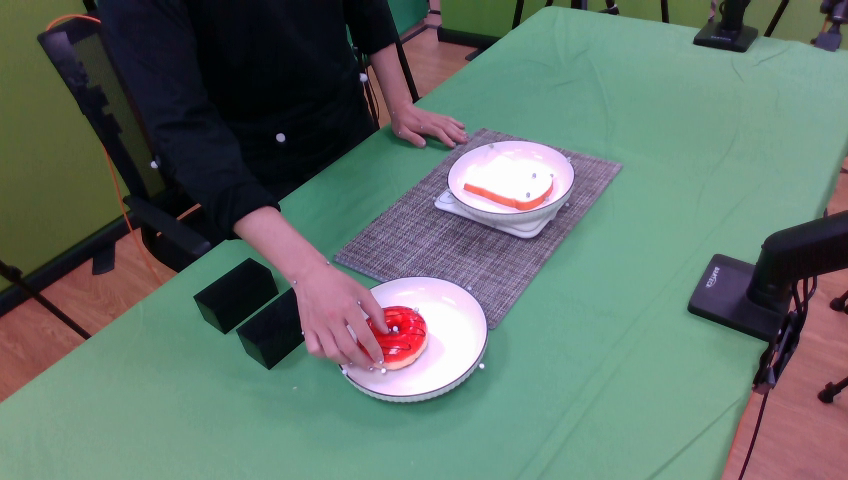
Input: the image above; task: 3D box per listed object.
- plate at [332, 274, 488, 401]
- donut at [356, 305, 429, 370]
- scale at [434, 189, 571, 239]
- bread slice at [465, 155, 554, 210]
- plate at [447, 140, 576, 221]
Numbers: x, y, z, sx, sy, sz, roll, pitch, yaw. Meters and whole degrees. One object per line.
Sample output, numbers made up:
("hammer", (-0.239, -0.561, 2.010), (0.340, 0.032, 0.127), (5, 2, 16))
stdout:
("plate", (-0.017, 0.130, 0.808), (0.207, 0.039, 0.206), (-4, 41, 4))
("donut", (-0.041, 0.127, 0.798), (0.099, 0.048, 0.098), (-7, 40, 6))
("scale", (0.132, -0.075, 1.025), (0.199, 0.032, 0.149), (22, 48, 30))
("bread slice", (0.149, -0.095, 0.998), (0.130, 0.019, 0.105), (25, 51, 32))
("plate", (0.143, -0.094, 0.995), (0.209, 0.038, 0.208), (-4, 41, 4))
